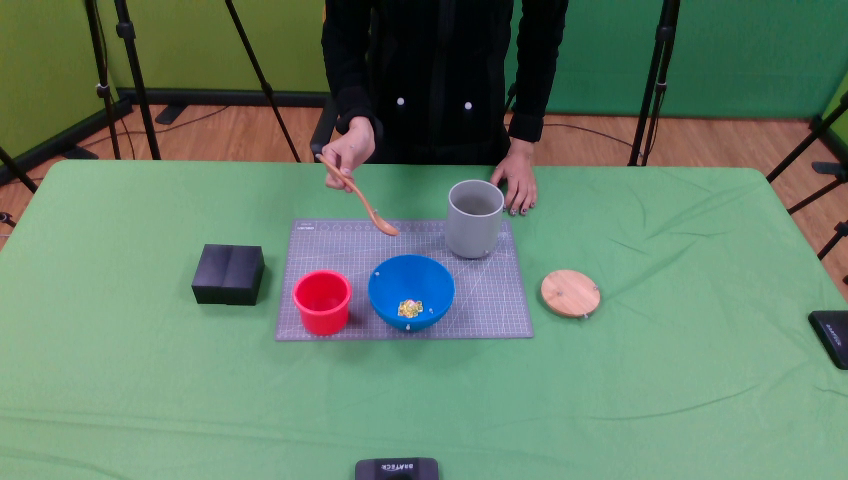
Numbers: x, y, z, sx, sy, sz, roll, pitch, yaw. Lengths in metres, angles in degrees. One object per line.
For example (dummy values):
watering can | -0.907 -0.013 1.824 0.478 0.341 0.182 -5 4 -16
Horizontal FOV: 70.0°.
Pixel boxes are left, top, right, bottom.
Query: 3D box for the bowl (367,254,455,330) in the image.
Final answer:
bowl | -0.023 0.104 1.053 0.151 0.077 0.150 2 46 -2

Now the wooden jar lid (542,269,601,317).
wooden jar lid | 0.272 0.100 1.121 0.108 0.021 0.107 3 47 -3

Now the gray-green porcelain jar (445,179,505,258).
gray-green porcelain jar | 0.095 -0.037 1.162 0.106 0.127 0.105 2 46 -2

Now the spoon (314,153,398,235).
spoon | -0.116 -0.078 1.032 0.194 0.021 0.041 49 18 -9
